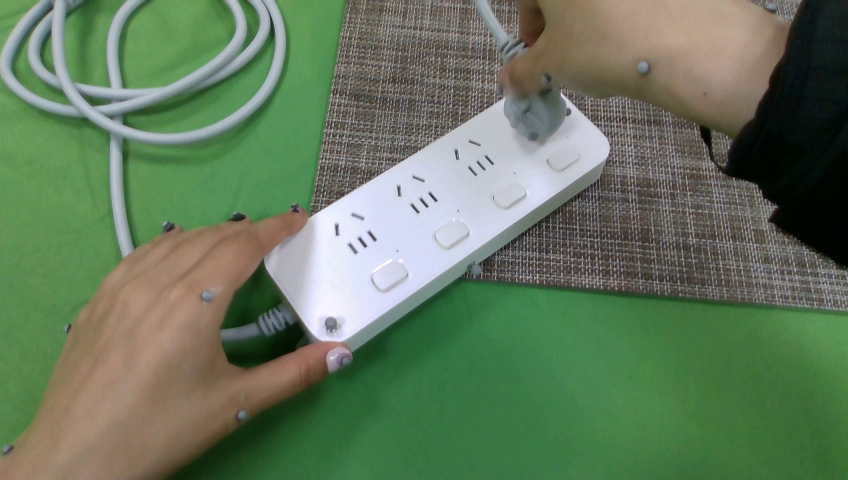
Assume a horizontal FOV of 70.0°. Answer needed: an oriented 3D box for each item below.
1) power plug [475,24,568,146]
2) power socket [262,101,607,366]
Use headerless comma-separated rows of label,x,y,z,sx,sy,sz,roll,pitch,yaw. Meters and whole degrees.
power plug,0.056,-0.088,0.354,0.035,0.053,0.072,-22,74,-15
power socket,0.011,-0.015,0.353,0.227,0.033,0.071,-34,70,-17
